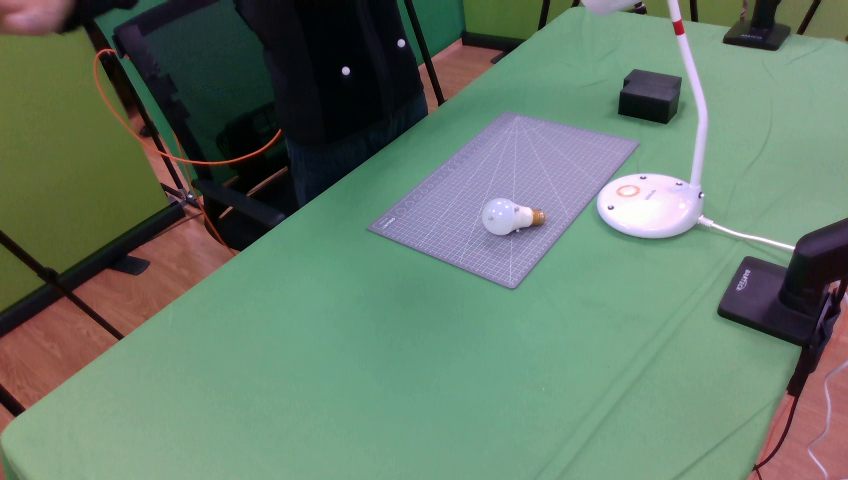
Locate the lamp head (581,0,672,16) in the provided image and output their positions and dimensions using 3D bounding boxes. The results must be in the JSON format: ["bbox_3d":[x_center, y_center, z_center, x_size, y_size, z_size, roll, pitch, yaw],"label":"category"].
[{"bbox_3d":[0.261,-0.338,0.738,0.122,0.113,0.112,9,42,42],"label":"lamp head"}]

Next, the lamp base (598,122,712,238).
[{"bbox_3d":[0.365,-0.113,0.925,0.178,0.181,0.161,20,48,26],"label":"lamp base"}]

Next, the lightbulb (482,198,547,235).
[{"bbox_3d":[0.147,-0.037,0.974,0.108,0.059,0.059,1,39,-12],"label":"lightbulb"}]
